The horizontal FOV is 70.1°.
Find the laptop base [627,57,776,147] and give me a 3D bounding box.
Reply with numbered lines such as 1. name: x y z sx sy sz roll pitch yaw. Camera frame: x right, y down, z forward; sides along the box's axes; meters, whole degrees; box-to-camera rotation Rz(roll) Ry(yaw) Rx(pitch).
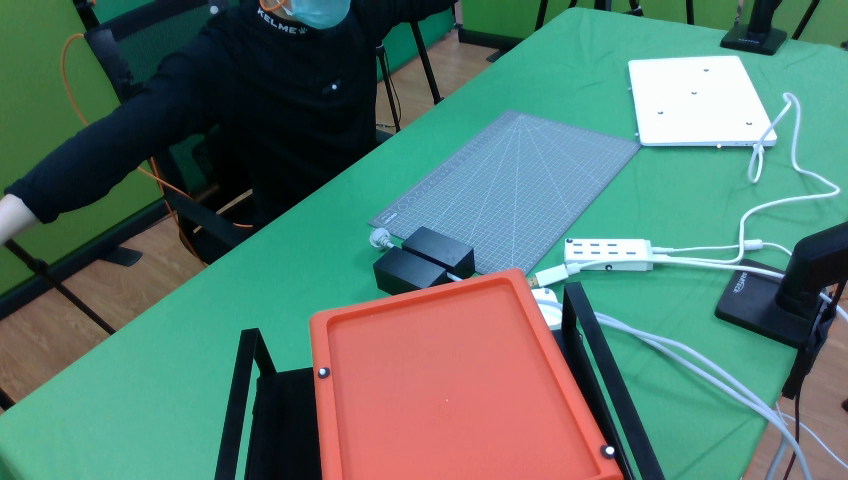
1. laptop base: 0.546 -0.282 1.229 0.235 0.023 0.353 -1 41 13

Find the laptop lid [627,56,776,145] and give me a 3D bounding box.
1. laptop lid: 0.543 -0.291 1.221 0.241 0.013 0.356 1 41 14

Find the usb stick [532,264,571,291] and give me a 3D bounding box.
1. usb stick: 0.181 0.058 0.875 0.059 0.027 0.021 -31 89 -6

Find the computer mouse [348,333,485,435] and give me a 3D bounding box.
1. computer mouse: -0.006 0.122 0.528 0.117 0.041 0.063 20 40 14

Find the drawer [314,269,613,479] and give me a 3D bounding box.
1. drawer: 0.018 0.135 0.490 0.195 0.073 0.210 -11 41 -5

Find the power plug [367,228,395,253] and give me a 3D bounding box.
1. power plug: -0.066 0.010 0.956 0.035 0.053 0.072 -32 56 3

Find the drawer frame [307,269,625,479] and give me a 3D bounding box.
1. drawer frame: 0.019 0.135 0.487 0.202 0.083 0.212 -12 41 -7

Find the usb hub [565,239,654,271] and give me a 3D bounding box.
1. usb hub: 0.275 0.022 0.906 0.125 0.025 0.049 1 41 9

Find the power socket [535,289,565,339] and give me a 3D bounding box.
1. power socket: 0.081 0.112 0.822 0.227 0.033 0.072 -7 41 0
